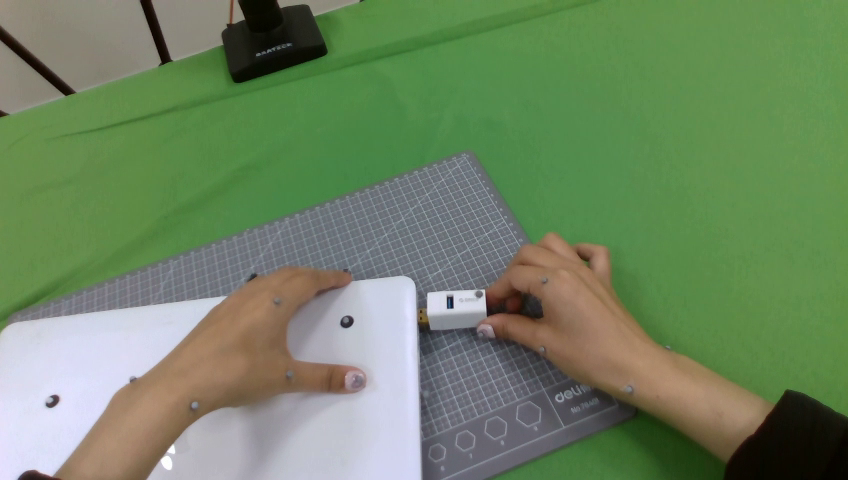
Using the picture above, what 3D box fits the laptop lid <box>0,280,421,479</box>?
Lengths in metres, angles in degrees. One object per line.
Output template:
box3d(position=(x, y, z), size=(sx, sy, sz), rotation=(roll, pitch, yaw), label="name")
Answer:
box3d(position=(-0.177, 0.144, 0.424), size=(0.356, 0.013, 0.239), rotation=(-6, 53, 6), label="laptop lid")

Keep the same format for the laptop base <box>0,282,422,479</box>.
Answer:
box3d(position=(-0.175, 0.149, 0.435), size=(0.354, 0.023, 0.233), rotation=(-7, 54, 5), label="laptop base")

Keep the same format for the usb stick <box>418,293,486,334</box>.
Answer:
box3d(position=(0.017, 0.056, 0.457), size=(0.059, 0.027, 0.021), rotation=(-5, 50, 8), label="usb stick")
